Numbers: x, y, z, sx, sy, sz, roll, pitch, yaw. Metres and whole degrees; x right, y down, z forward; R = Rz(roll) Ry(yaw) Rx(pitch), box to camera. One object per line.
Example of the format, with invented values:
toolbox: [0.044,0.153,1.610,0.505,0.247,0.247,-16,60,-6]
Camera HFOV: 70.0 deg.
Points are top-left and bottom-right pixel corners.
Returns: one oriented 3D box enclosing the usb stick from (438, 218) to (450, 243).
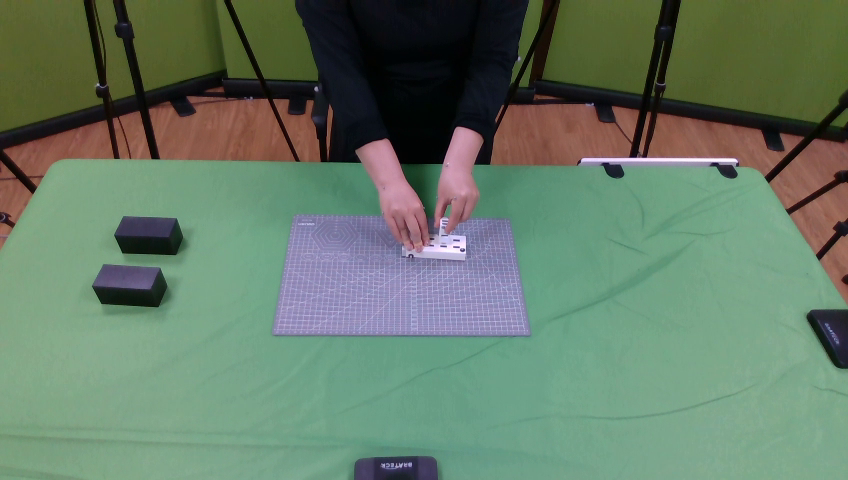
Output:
usb stick: [0.038,-0.013,1.159,0.021,0.059,0.027,1,45,-1]

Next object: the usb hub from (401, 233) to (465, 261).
usb hub: [0.019,0.014,1.180,0.125,0.025,0.049,4,46,0]
